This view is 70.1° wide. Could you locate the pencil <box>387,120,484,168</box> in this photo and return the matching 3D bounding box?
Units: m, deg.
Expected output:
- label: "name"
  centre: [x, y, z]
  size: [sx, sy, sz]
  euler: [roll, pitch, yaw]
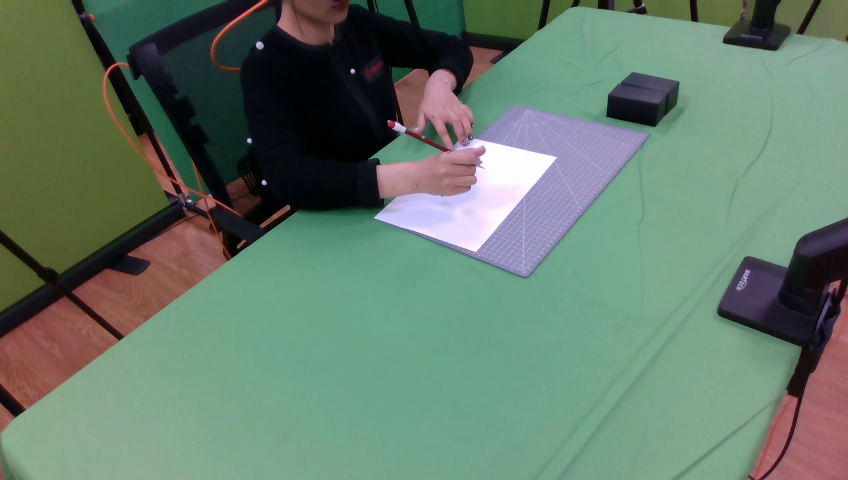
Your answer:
- label: "pencil"
  centre: [0.023, -0.153, 0.983]
  size: [0.196, 0.012, 0.012]
  euler: [20, 29, -31]
